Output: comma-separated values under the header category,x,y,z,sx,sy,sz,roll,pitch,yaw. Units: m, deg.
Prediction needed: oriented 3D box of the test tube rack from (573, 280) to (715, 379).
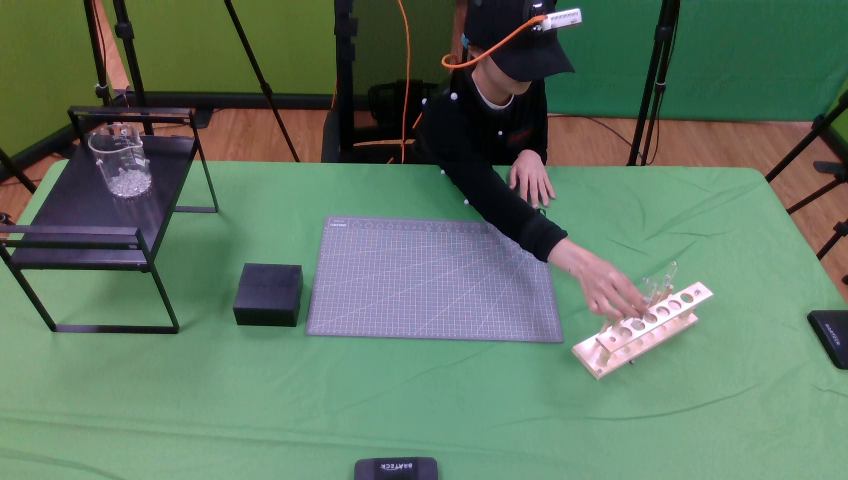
category,x,y,z,sx,sy,sz,roll,pitch,yaw
test tube rack,0.378,0.140,1.038,0.242,0.085,0.066,-22,51,-23

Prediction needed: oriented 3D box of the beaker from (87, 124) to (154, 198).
category,x,y,z,sx,sy,sz,roll,pitch,yaw
beaker,-0.482,-0.124,0.978,0.084,0.101,0.073,9,46,4

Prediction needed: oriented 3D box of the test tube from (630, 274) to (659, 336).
category,x,y,z,sx,sy,sz,roll,pitch,yaw
test tube,0.345,0.107,0.952,0.017,0.151,0.017,-2,46,2

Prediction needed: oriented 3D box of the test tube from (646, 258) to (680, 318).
category,x,y,z,sx,sy,sz,roll,pitch,yaw
test tube,0.406,0.084,1.032,0.017,0.151,0.017,1,47,-1
